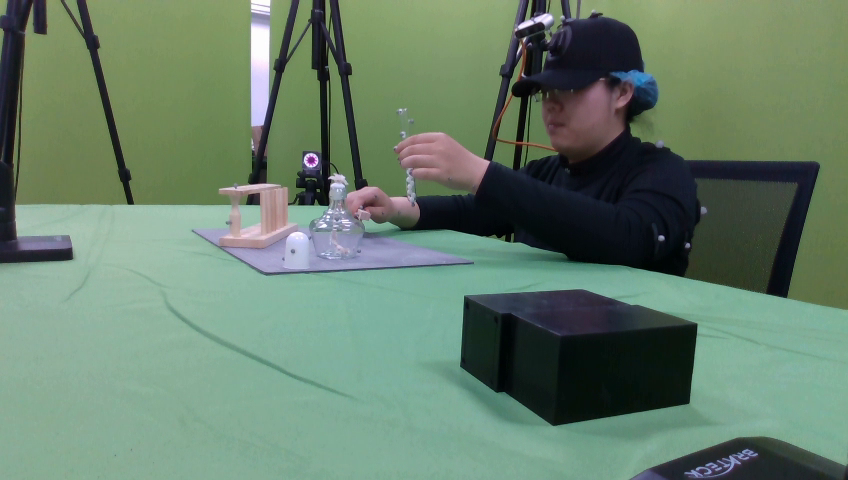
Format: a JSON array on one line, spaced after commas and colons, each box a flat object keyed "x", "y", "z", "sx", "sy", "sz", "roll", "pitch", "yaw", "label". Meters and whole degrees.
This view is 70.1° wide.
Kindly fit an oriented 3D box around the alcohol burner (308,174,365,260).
[{"x": -0.121, "y": -0.033, "z": 0.841, "sx": 0.078, "sy": 0.119, "sz": 0.078, "roll": 3, "pitch": 5, "yaw": 0, "label": "alcohol burner"}]

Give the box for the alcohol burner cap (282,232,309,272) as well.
[{"x": -0.157, "y": 0.014, "z": 0.740, "sx": 0.034, "sy": 0.048, "sz": 0.034, "roll": 3, "pitch": 6, "yaw": 0, "label": "alcohol burner cap"}]

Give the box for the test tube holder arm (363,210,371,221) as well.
[{"x": -0.103, "y": -0.043, "z": 1.041, "sx": 0.010, "sy": 0.015, "sz": 0.087, "roll": 23, "pitch": 1, "yaw": -14, "label": "test tube holder arm"}]

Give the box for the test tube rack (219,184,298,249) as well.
[{"x": -0.266, "y": -0.046, "z": 1.001, "sx": 0.067, "sy": 0.085, "sz": 0.242, "roll": 3, "pitch": 7, "yaw": 0, "label": "test tube rack"}]

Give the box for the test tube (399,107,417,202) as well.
[{"x": -0.025, "y": -0.133, "z": 0.952, "sx": 0.017, "sy": 0.150, "sz": 0.017, "roll": -5, "pitch": 16, "yaw": 2, "label": "test tube"}]

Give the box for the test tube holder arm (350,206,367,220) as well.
[{"x": -0.119, "y": -0.050, "z": 1.083, "sx": 0.013, "sy": 0.015, "sz": 0.178, "roll": 23, "pitch": 1, "yaw": -16, "label": "test tube holder arm"}]
